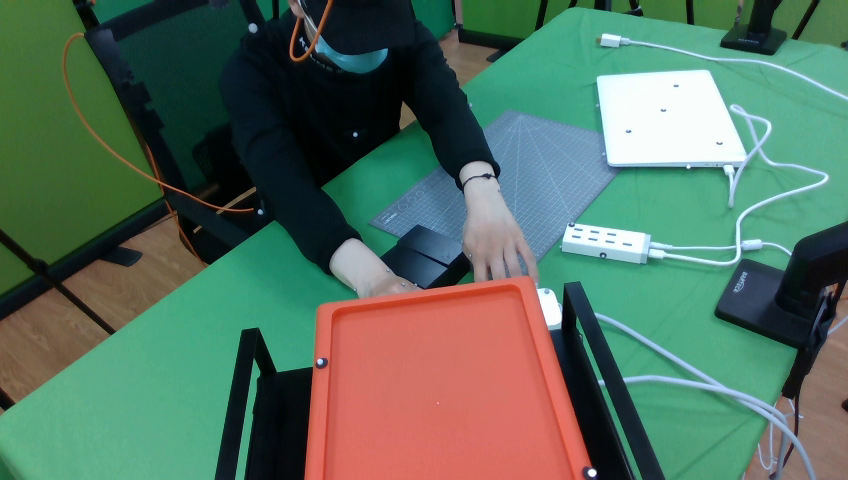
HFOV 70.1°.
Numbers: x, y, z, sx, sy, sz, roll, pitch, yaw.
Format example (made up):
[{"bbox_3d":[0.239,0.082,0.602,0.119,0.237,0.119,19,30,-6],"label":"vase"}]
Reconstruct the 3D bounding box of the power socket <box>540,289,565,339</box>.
[{"bbox_3d":[0.081,0.111,0.824,0.227,0.033,0.072,-6,41,0],"label":"power socket"}]

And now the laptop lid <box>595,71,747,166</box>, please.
[{"bbox_3d":[0.465,-0.248,1.181,0.241,0.013,0.355,1,41,12],"label":"laptop lid"}]

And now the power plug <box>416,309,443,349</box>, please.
[{"bbox_3d":[0.005,0.122,0.788,0.035,0.053,0.072,6,45,7],"label":"power plug"}]

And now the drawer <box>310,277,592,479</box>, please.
[{"bbox_3d":[0.013,0.136,0.489,0.195,0.073,0.210,-7,41,0],"label":"drawer"}]

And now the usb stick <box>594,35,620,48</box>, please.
[{"bbox_3d":[0.443,-0.483,1.467,0.059,0.021,0.027,10,43,10],"label":"usb stick"}]

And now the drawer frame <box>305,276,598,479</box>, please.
[{"bbox_3d":[0.014,0.137,0.486,0.202,0.083,0.212,-8,41,-1],"label":"drawer frame"}]

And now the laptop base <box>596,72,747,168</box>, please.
[{"bbox_3d":[0.469,-0.238,1.189,0.235,0.023,0.353,-1,40,11],"label":"laptop base"}]

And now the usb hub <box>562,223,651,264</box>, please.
[{"bbox_3d":[0.279,0.004,0.926,0.124,0.025,0.049,10,43,19],"label":"usb hub"}]

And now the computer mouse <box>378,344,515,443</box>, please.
[{"bbox_3d":[0.018,0.126,0.521,0.116,0.041,0.063,13,47,29],"label":"computer mouse"}]
